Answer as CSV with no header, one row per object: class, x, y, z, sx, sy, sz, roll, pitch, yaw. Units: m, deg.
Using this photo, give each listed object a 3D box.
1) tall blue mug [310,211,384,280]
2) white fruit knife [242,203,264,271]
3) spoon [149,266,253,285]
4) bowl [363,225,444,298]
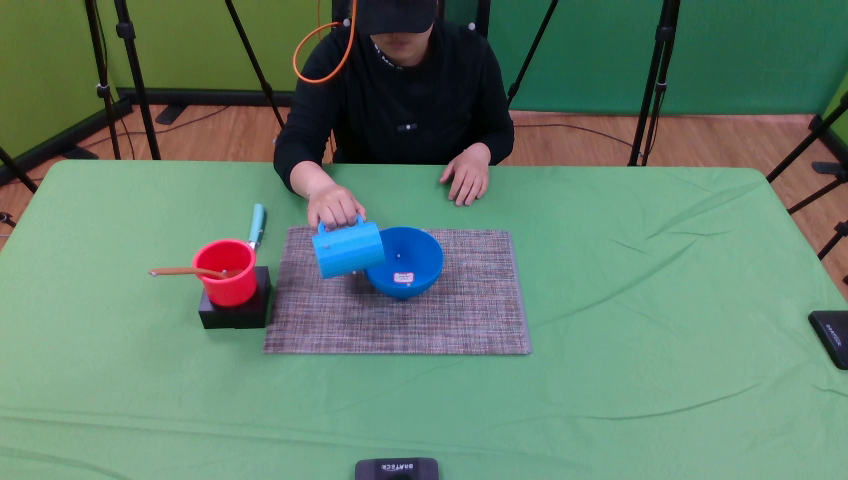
tall blue mug,-0.133,0.002,1.021,0.108,0.077,0.107,-15,91,-12
white fruit knife,-0.334,0.001,1.178,0.027,0.016,0.206,-18,46,16
spoon,-0.351,0.052,0.968,0.041,0.021,0.194,41,12,28
bowl,-0.040,0.053,1.099,0.151,0.077,0.150,2,46,-2
